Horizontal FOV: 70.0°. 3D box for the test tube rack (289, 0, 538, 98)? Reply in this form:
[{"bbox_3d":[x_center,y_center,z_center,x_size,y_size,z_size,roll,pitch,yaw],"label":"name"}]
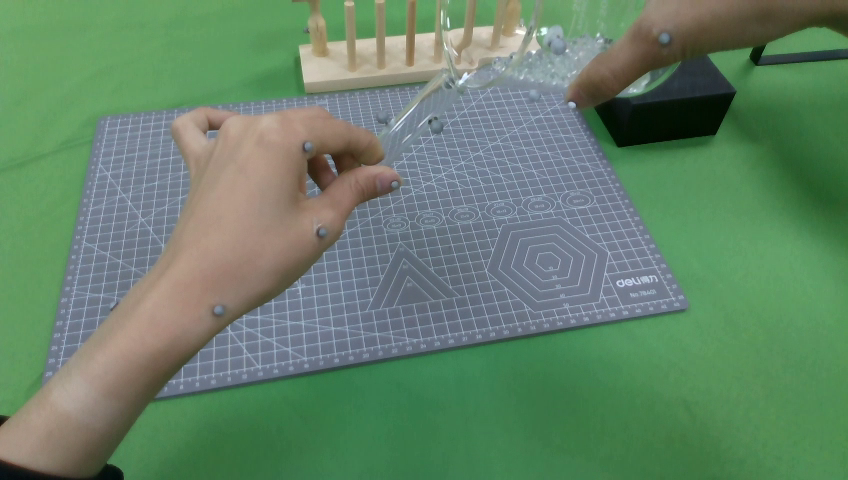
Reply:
[{"bbox_3d":[-0.006,-0.209,0.605,0.243,0.086,0.066,-8,51,-9],"label":"test tube rack"}]

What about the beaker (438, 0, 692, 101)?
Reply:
[{"bbox_3d":[0.066,-0.102,0.285,0.101,0.084,0.073,-3,50,-30],"label":"beaker"}]

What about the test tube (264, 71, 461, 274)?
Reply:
[{"bbox_3d":[-0.037,-0.030,0.317,0.017,0.150,0.017,38,26,-22],"label":"test tube"}]
